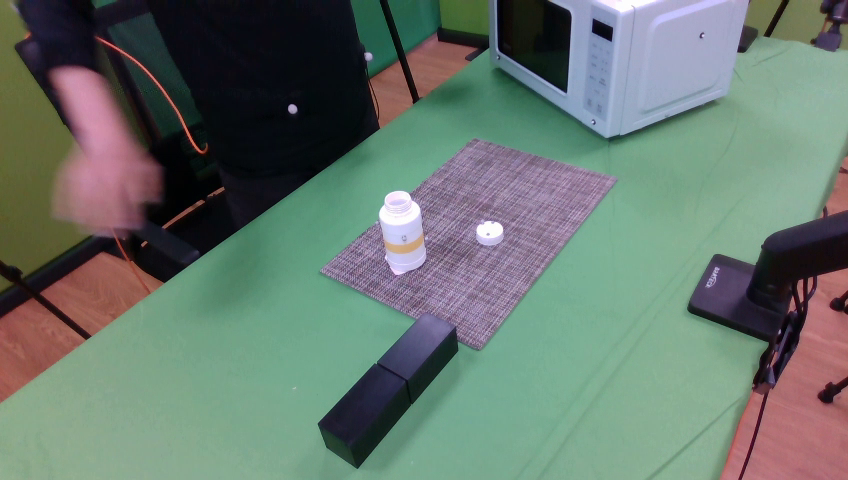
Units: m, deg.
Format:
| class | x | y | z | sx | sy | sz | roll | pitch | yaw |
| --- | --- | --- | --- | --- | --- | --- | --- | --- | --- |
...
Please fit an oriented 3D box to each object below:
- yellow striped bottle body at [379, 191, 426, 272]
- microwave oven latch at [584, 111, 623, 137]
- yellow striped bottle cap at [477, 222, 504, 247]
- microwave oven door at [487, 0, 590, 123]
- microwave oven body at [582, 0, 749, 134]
| class | x | y | z | sx | sy | sz | roll | pitch | yaw |
| --- | --- | --- | --- | --- | --- | --- | --- | --- | --- |
| yellow striped bottle body | -0.033 | -0.016 | 0.910 | 0.063 | 0.121 | 0.062 | -4 | 41 | 4 |
| microwave oven latch | 0.337 | -0.222 | 1.142 | 0.030 | 0.029 | 0.078 | -21 | 42 | -14 |
| yellow striped bottle cap | 0.106 | -0.010 | 0.966 | 0.044 | 0.019 | 0.044 | -4 | 39 | 3 |
| microwave oven door | 0.232 | -0.420 | 1.230 | 0.039 | 0.245 | 0.352 | -22 | 43 | -16 |
| microwave oven body | 0.382 | -0.444 | 1.246 | 0.327 | 0.261 | 0.437 | -22 | 42 | -16 |
